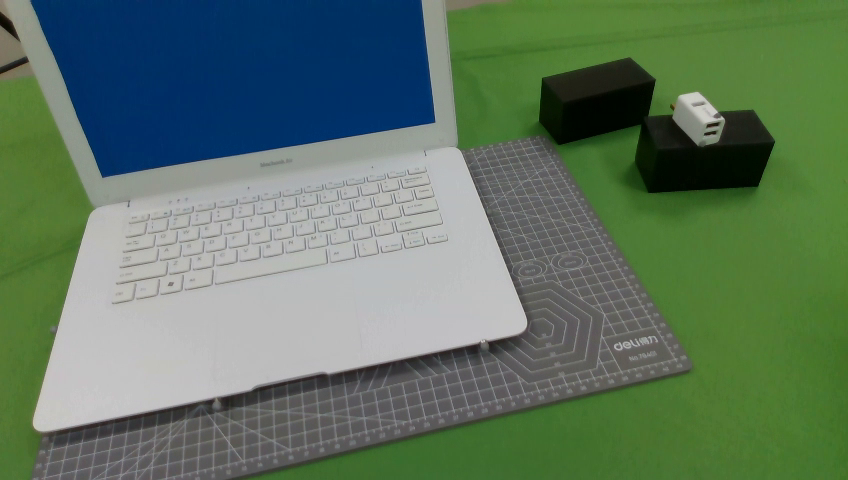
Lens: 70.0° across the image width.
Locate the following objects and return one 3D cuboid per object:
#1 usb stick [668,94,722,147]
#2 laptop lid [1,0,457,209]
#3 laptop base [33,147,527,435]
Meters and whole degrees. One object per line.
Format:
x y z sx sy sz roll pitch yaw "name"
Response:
0.235 -0.109 0.533 0.021 0.027 0.058 -13 42 -4 "usb stick"
-0.152 -0.157 0.531 0.357 0.244 0.013 -12 30 -5 "laptop lid"
-0.116 0.024 0.508 0.355 0.023 0.233 -11 48 -6 "laptop base"
